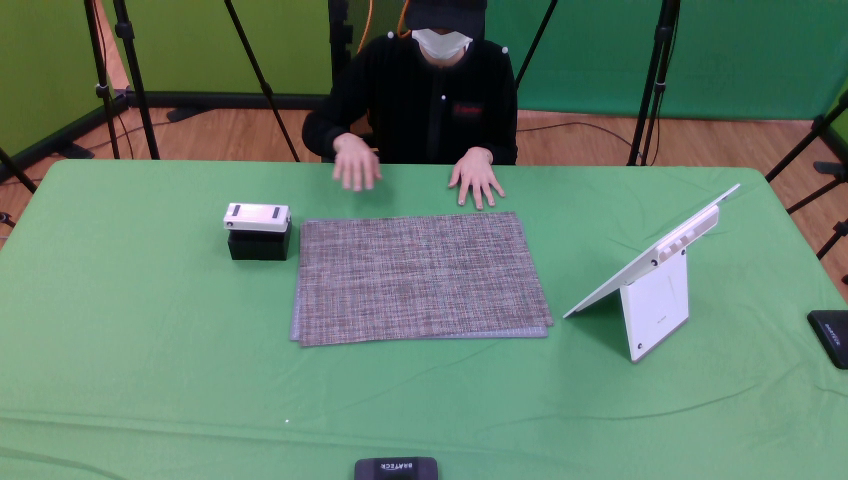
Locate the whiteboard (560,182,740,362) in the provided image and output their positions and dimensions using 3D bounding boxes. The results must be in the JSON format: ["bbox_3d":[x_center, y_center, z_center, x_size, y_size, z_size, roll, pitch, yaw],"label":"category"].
[{"bbox_3d":[0.406,0.075,1.001,0.217,0.306,0.143,-28,73,-28],"label":"whiteboard"}]

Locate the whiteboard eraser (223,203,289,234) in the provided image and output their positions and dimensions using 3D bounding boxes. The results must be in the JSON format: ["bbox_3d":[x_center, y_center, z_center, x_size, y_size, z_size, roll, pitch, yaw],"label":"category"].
[{"bbox_3d":[-0.311,-0.039,1.127,0.113,0.042,0.055,3,47,-2],"label":"whiteboard eraser"}]
